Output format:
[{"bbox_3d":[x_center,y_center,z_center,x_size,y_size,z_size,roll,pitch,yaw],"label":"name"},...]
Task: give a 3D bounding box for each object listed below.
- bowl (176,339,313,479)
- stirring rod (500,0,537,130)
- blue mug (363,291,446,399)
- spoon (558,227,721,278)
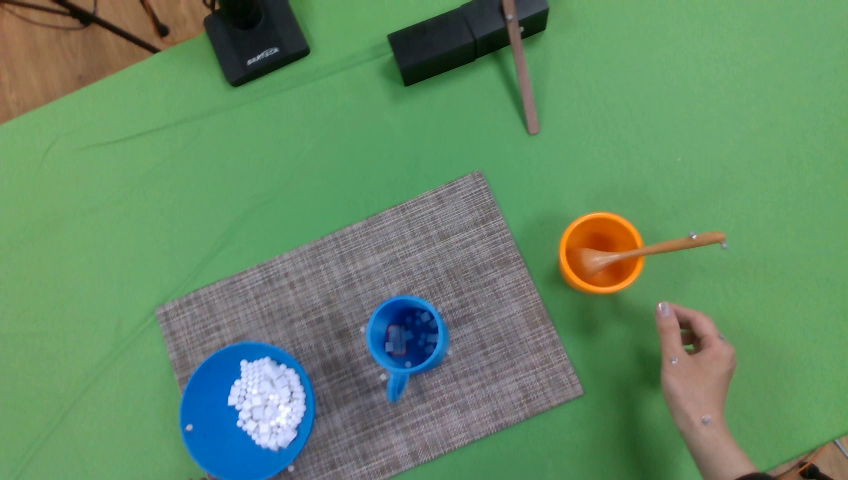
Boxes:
[{"bbox_3d":[-0.193,0.190,0.694,0.151,0.077,0.150,-1,79,5],"label":"bowl"},{"bbox_3d":[0.118,-0.225,0.758,0.014,0.006,0.176,-14,100,-4],"label":"stirring rod"},{"bbox_3d":[-0.023,0.121,0.679,0.082,0.106,0.116,14,80,8],"label":"blue mug"},{"bbox_3d":[0.224,0.009,0.657,0.193,0.022,0.041,-16,80,43],"label":"spoon"}]
